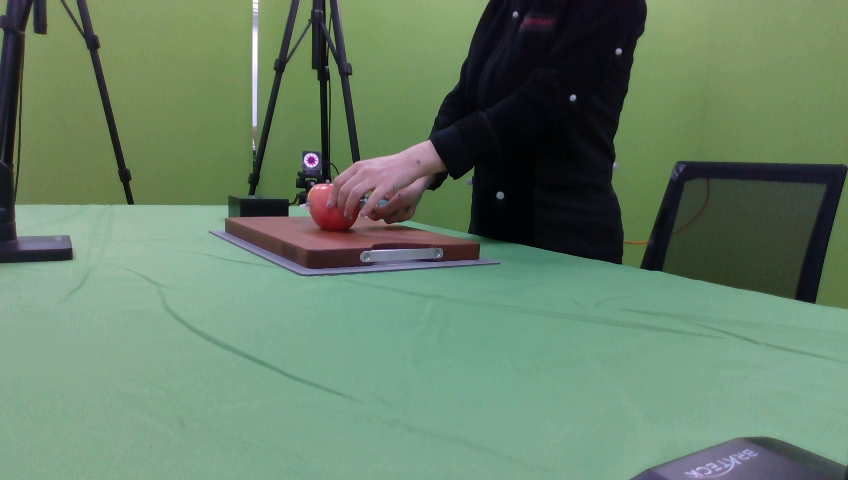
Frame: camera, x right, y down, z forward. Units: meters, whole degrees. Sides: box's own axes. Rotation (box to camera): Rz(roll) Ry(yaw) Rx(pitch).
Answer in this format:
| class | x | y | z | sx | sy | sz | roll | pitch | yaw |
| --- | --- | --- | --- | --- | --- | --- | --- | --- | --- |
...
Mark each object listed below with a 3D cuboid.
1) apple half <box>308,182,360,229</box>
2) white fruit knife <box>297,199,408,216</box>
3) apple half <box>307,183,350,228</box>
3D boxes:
| class | x | y | z | sx | sy | sz | roll | pitch | yaw |
| --- | --- | --- | --- | --- | --- | --- | --- | --- | --- |
| apple half | -0.135 | -0.052 | 0.950 | 0.081 | 0.074 | 0.053 | 0 | 13 | -38 |
| white fruit knife | -0.112 | -0.056 | 0.997 | 0.208 | 0.027 | 0.016 | 0 | 3 | -38 |
| apple half | -0.160 | -0.057 | 0.981 | 0.082 | 0.081 | 0.032 | -3 | 7 | -36 |
